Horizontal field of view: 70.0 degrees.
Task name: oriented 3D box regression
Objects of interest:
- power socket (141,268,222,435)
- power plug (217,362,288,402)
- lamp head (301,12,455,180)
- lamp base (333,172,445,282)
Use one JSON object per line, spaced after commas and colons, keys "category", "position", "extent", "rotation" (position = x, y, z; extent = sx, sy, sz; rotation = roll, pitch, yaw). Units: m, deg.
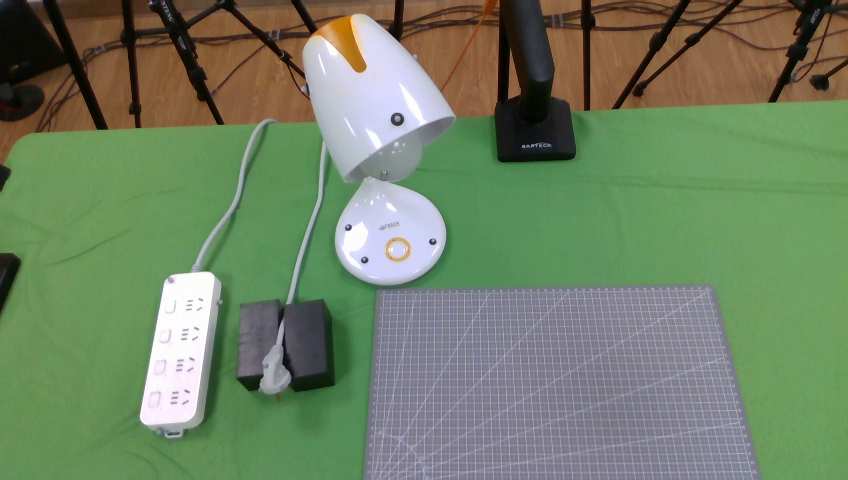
{"category": "power socket", "position": [-0.313, 0.137, 0.791], "extent": [0.072, 0.033, 0.224], "rotation": [-4, 58, 1]}
{"category": "power plug", "position": [-0.195, 0.171, 0.709], "extent": [0.072, 0.053, 0.035], "rotation": [-19, 15, -2]}
{"category": "lamp head", "position": [-0.049, -0.127, 0.518], "extent": [0.112, 0.112, 0.122], "rotation": [-29, 85, -13]}
{"category": "lamp base", "position": [-0.062, -0.060, 0.805], "extent": [0.161, 0.182, 0.177], "rotation": [-26, 58, -11]}
